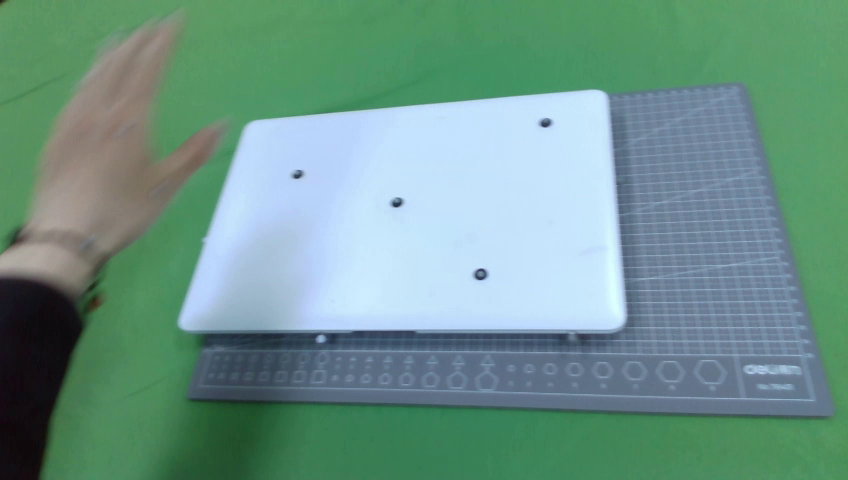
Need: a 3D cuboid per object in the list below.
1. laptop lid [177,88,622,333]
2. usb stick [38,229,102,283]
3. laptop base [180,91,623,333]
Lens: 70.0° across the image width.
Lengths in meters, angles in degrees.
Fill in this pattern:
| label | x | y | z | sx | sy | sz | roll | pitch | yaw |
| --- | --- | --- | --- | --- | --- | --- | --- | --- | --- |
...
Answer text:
| label | x | y | z | sx | sy | sz | roll | pitch | yaw |
| --- | --- | --- | --- | --- | --- | --- | --- | --- | --- |
| laptop lid | -0.023 | -0.030 | 0.512 | 0.356 | 0.013 | 0.239 | -1 | 58 | 15 |
| usb stick | -0.334 | 0.009 | 0.576 | 0.021 | 0.027 | 0.059 | 15 | 58 | 25 |
| laptop base | -0.020 | -0.025 | 0.522 | 0.353 | 0.023 | 0.233 | -2 | 59 | 13 |
